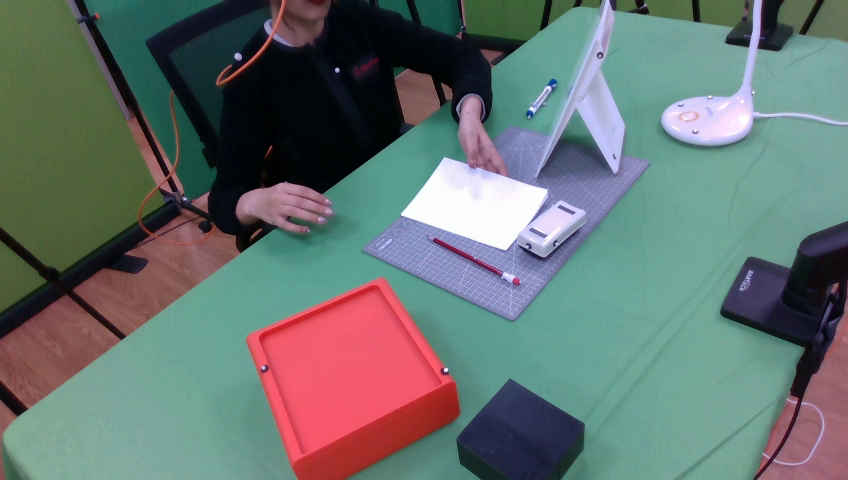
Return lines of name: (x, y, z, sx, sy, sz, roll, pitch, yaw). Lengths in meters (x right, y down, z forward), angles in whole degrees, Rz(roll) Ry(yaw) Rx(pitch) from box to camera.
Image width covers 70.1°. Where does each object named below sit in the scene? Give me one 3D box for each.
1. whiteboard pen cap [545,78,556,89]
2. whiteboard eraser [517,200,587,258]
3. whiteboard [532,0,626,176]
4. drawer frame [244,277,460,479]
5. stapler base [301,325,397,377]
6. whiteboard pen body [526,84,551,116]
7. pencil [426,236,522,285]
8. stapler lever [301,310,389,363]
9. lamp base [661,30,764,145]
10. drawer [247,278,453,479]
whiteboard pen cap: (0.280, -0.344, 1.335, 0.018, 0.018, 0.033, 15, 45, 25)
whiteboard eraser: (0.201, -0.016, 0.943, 0.113, 0.042, 0.055, -37, 46, -29)
whiteboard: (0.321, -0.258, 1.050, 0.144, 0.306, 0.217, 22, 45, 5)
drawer frame: (-0.093, 0.167, 0.755, 0.202, 0.083, 0.211, -23, 43, -17)
stapler base: (-0.101, 0.143, 0.814, 0.131, 0.024, 0.041, -18, 42, -13)
whiteboard pen body: (0.251, -0.305, 1.298, 0.017, 0.017, 0.141, 15, 45, 26)
pencil: (0.072, 0.028, 0.941, 0.192, 0.012, 0.012, 26, 52, 37)
stapler lever: (-0.104, 0.126, 0.798, 0.118, 0.040, 0.026, -17, 42, -15)
lamp base: (0.535, -0.287, 1.096, 0.179, 0.181, 0.159, -10, 40, -4)
drawer: (-0.096, 0.167, 0.758, 0.195, 0.073, 0.210, -22, 43, -17)
